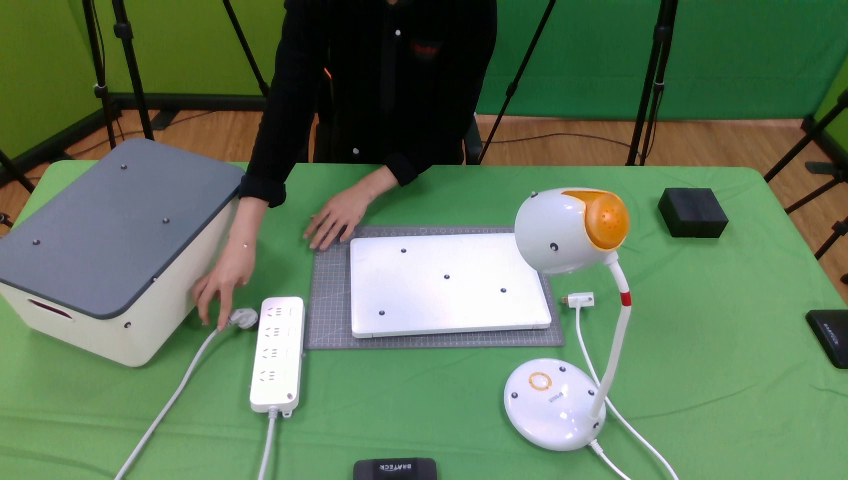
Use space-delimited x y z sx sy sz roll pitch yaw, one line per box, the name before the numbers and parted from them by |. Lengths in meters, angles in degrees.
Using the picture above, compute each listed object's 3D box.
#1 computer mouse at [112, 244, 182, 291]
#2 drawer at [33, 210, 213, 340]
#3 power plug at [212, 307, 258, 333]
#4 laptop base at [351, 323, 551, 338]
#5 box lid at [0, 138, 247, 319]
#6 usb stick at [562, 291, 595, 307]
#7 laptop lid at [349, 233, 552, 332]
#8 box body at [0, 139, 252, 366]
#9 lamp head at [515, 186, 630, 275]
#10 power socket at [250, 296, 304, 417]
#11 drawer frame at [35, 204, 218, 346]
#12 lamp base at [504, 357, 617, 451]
computer mouse | -0.492 0.046 1.078 0.117 0.041 0.062 24 41 13
drawer | -0.509 0.054 1.046 0.194 0.073 0.211 15 43 11
power plug | -0.318 0.139 1.028 0.072 0.053 0.035 -26 50 -2
laptop base | 0.040 0.080 1.125 0.355 0.023 0.234 -2 43 -6
box lid | -0.494 -0.037 0.994 0.263 0.015 0.370 17 46 12
usb stick | 0.280 0.109 1.105 0.059 0.021 0.027 -6 13 23
laptop lid | 0.040 0.070 1.119 0.357 0.013 0.240 -1 44 -5
box body | -0.496 0.013 1.048 0.254 0.161 0.362 17 47 12
lamp head | 0.188 -0.013 0.728 0.112 0.112 0.122 -25 9 -25
power socket | -0.239 0.182 0.997 0.072 0.033 0.225 -2 47 -5
drawer frame | -0.505 0.054 1.052 0.201 0.083 0.212 14 52 11
lamp base | 0.220 0.211 0.903 0.160 0.181 0.178 -32 59 -30
